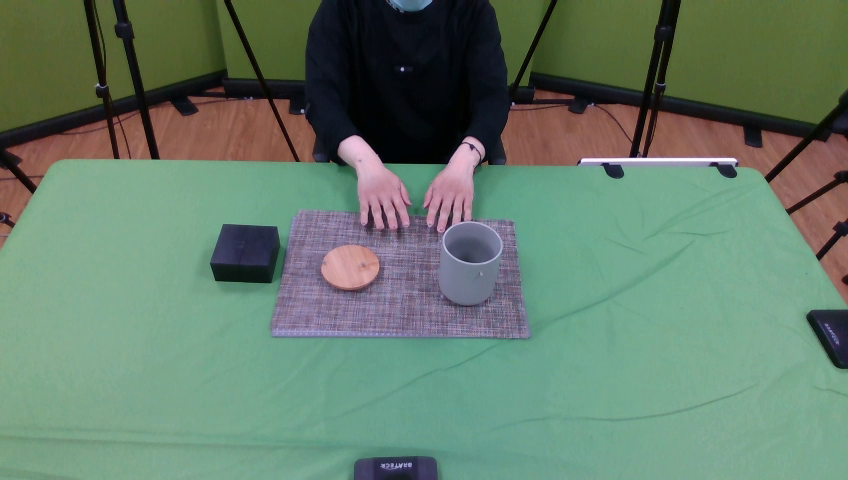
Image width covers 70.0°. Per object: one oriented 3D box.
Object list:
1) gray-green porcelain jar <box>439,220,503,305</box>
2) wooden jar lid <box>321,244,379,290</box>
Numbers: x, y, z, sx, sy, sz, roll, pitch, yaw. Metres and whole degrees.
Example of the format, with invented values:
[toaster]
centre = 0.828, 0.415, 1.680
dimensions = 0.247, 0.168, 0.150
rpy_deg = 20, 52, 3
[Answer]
[gray-green porcelain jar]
centre = 0.080, 0.046, 1.078
dimensions = 0.106, 0.127, 0.105
rpy_deg = 2, 46, -2
[wooden jar lid]
centre = -0.137, 0.054, 1.131
dimensions = 0.108, 0.021, 0.107
rpy_deg = 1, 46, -1
